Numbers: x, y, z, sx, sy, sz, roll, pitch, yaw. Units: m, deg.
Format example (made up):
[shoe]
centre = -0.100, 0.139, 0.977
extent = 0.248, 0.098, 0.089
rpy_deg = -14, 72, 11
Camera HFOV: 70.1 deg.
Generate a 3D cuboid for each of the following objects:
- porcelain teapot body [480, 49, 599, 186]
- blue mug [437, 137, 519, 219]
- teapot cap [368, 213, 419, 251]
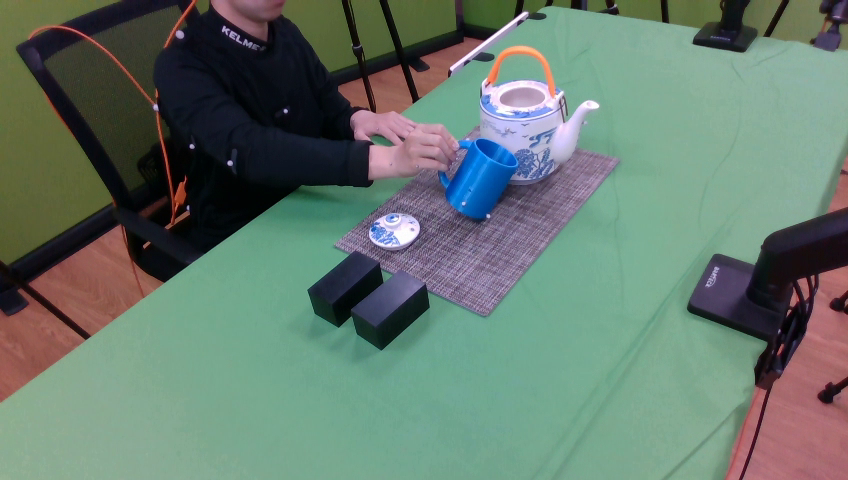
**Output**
[porcelain teapot body]
centre = 0.193, -0.208, 1.023
extent = 0.204, 0.226, 0.145
rpy_deg = 16, 46, 25
[blue mug]
centre = 0.078, -0.107, 0.977
extent = 0.116, 0.106, 0.082
rpy_deg = 29, 31, 0
[teapot cap]
centre = -0.049, -0.019, 0.975
extent = 0.085, 0.044, 0.085
rpy_deg = -4, 42, 4
